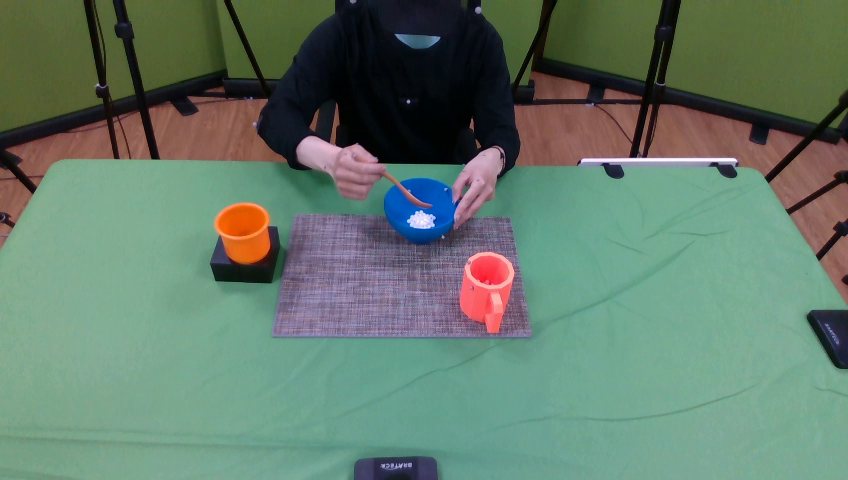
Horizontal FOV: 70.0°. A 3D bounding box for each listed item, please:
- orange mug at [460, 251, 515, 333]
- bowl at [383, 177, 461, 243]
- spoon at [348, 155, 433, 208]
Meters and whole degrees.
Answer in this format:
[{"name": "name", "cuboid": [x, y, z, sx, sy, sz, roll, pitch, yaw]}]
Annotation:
[{"name": "orange mug", "cuboid": [0.114, 0.095, 1.053, 0.083, 0.101, 0.125, -5, 42, -8]}, {"name": "bowl", "cuboid": [-0.005, -0.047, 1.197, 0.151, 0.077, 0.150, 2, 46, -2]}, {"name": "spoon", "cuboid": [-0.059, -0.105, 1.100, 0.021, 0.195, 0.041, -54, 32, 4]}]
